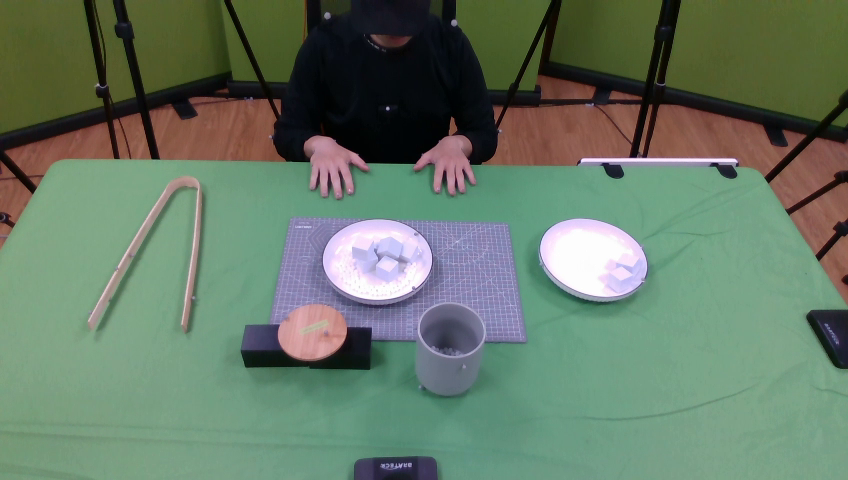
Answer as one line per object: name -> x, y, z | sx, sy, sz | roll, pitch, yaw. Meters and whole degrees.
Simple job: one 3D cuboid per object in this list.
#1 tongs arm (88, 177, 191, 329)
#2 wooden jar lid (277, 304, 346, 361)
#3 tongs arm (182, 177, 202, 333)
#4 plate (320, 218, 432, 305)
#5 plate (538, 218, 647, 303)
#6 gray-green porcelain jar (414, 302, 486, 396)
tongs arm -> -0.523, 0.009, 1.139 | 0.051, 0.026, 0.382 | 5, 45, -2
wooden jar lid -> -0.179, 0.150, 0.972 | 0.108, 0.021, 0.107 | 2, 45, -2
tongs arm -> -0.442, 0.014, 1.149 | 0.028, 0.028, 0.385 | -7, 47, -9
plate -> -0.089, 0.044, 1.134 | 0.209, 0.038, 0.208 | 3, 46, -2
plate -> 0.322, 0.042, 1.171 | 0.208, 0.039, 0.206 | 2, 46, -2
gray-green porcelain jar -> 0.038, 0.177, 0.958 | 0.106, 0.127, 0.105 | 2, 46, -2
